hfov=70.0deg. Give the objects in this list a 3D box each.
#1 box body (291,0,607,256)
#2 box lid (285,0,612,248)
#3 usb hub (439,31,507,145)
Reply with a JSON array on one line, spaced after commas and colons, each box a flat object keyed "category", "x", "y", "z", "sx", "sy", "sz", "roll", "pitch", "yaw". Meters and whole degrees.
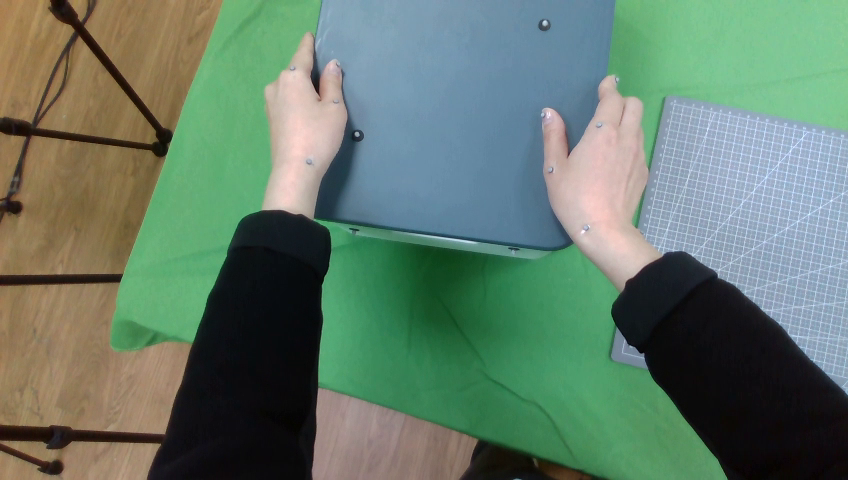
[{"category": "box body", "x": 0.037, "y": -0.175, "z": 0.614, "sx": 0.254, "sy": 0.161, "sz": 0.363, "roll": 8, "pitch": 83, "yaw": 5}, {"category": "box lid", "x": 0.030, "y": -0.184, "z": 0.542, "sx": 0.263, "sy": 0.015, "sz": 0.370, "roll": 8, "pitch": 83, "yaw": 5}, {"category": "usb hub", "x": 0.055, "y": -0.168, "z": 0.668, "sx": 0.049, "sy": 0.025, "sz": 0.124, "roll": 13, "pitch": 77, "yaw": 8}]
